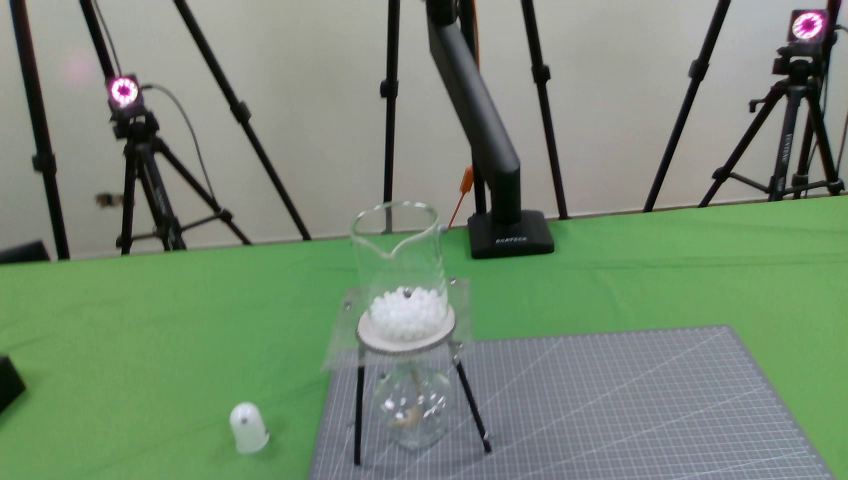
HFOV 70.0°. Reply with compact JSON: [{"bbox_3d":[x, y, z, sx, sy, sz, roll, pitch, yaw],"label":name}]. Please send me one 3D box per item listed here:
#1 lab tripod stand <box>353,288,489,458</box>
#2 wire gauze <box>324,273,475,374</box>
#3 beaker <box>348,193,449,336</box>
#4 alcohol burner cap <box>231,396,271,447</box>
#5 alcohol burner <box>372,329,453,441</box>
[{"bbox_3d":[-0.011,0.120,0.561,0.148,0.132,0.147,-6,29,4],"label":"lab tripod stand"},{"bbox_3d":[-0.018,0.065,0.524,0.121,0.011,0.124,-6,31,5],"label":"wire gauze"},{"bbox_3d":[-0.018,0.023,0.499,0.074,0.101,0.083,-5,30,6],"label":"beaker"},{"bbox_3d":[-0.171,0.175,0.593,0.034,0.048,0.033,-4,31,3],"label":"alcohol burner cap"},{"bbox_3d":[-0.012,0.129,0.565,0.078,0.120,0.077,-3,31,2],"label":"alcohol burner"}]
